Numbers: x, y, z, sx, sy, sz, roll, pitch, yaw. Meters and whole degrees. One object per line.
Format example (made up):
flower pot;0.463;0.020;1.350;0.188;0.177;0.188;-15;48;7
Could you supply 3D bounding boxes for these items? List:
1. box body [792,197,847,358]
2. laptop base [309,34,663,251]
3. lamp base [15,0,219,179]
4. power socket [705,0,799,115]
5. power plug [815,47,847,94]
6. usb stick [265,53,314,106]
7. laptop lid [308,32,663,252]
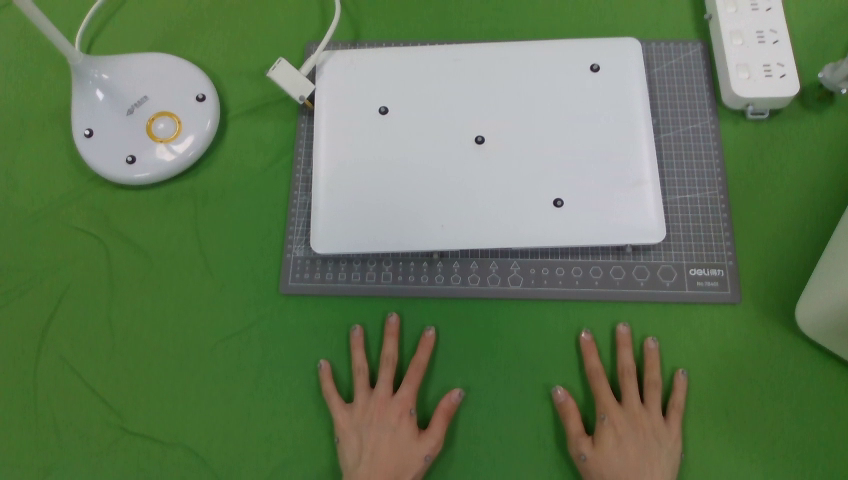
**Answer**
box body;0.525;-0.020;0.512;0.253;0.161;0.363;33;77;12
laptop base;0.058;-0.105;0.638;0.354;0.023;0.234;-2;76;2
lamp base;-0.320;-0.170;0.593;0.178;0.181;0.160;27;75;14
power socket;0.350;-0.244;0.660;0.072;0.033;0.225;0;72;2
power plug;0.442;-0.181;0.631;0.072;0.053;0.035;-24;68;-21
usb stick;-0.139;-0.170;0.649;0.027;0.060;0.021;-48;32;-3
laptop lid;0.057;-0.106;0.626;0.356;0.013;0.240;0;75;3
